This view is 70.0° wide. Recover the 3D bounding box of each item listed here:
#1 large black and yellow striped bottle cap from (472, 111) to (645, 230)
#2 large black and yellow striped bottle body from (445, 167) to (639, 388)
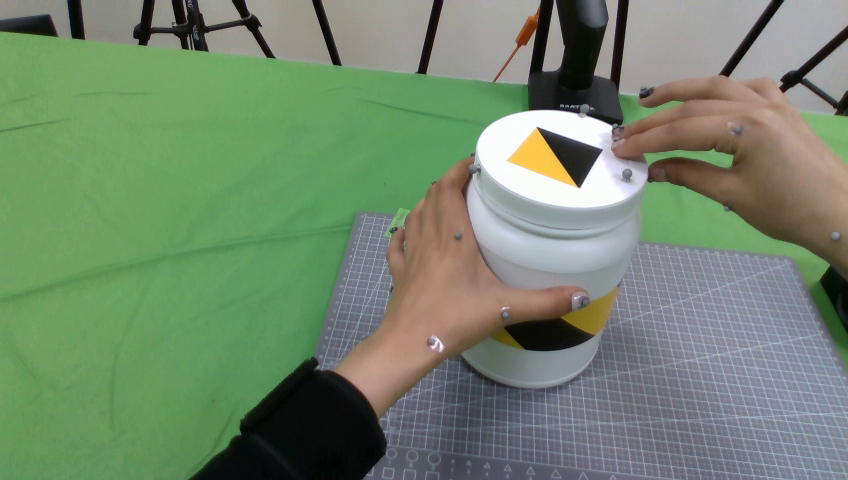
[{"bbox_3d":[0.090,-0.051,0.408,0.115,0.019,0.114,1,43,-1],"label":"large black and yellow striped bottle cap"},{"bbox_3d":[0.086,0.011,0.466,0.131,0.185,0.129,2,43,-2],"label":"large black and yellow striped bottle body"}]
